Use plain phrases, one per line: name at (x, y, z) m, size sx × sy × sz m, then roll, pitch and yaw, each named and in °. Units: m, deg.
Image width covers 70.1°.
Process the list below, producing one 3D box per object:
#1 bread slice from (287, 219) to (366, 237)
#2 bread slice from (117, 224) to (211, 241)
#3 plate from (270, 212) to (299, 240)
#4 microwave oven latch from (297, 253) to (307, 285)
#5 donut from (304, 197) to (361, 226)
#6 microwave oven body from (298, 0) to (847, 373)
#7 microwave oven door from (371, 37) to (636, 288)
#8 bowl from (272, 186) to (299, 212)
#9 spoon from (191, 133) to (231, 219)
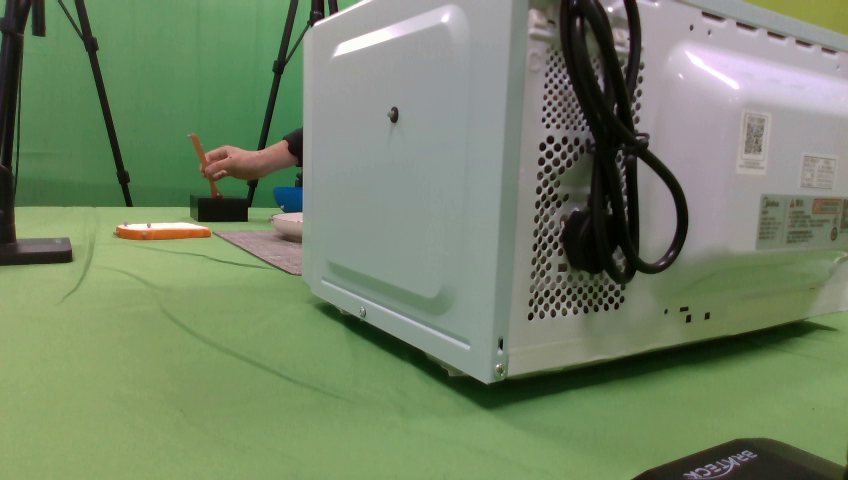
bread slice at (-0.170, -0.022, 1.056) m, size 0.134 × 0.018 × 0.107 m, roll 2°, pitch 7°, yaw -6°
bread slice at (-0.443, -0.015, 1.022) m, size 0.132 × 0.019 × 0.104 m, roll -3°, pitch 8°, yaw -45°
plate at (-0.162, -0.022, 1.057) m, size 0.208 × 0.039 × 0.207 m, roll 2°, pitch 7°, yaw 0°
microwave oven latch at (-0.082, 0.027, 0.582) m, size 0.079 × 0.029 × 0.030 m, roll -1°, pitch 7°, yaw -32°
donut at (-0.159, -0.050, 1.055) m, size 0.099 × 0.048 × 0.099 m, roll 3°, pitch 8°, yaw 0°
microwave oven body at (0.151, -0.055, 0.542) m, size 0.444 × 0.260 × 0.324 m, roll -2°, pitch 7°, yaw -33°
microwave oven door at (0.109, -0.080, 0.686) m, size 0.358 × 0.243 × 0.039 m, roll -2°, pitch 9°, yaw -33°
bowl at (-0.254, -0.075, 1.317) m, size 0.151 × 0.077 × 0.151 m, roll 2°, pitch 7°, yaw 0°
spoon at (-0.455, -0.134, 1.288) m, size 0.042 × 0.194 × 0.021 m, roll -21°, pitch 30°, yaw -18°
